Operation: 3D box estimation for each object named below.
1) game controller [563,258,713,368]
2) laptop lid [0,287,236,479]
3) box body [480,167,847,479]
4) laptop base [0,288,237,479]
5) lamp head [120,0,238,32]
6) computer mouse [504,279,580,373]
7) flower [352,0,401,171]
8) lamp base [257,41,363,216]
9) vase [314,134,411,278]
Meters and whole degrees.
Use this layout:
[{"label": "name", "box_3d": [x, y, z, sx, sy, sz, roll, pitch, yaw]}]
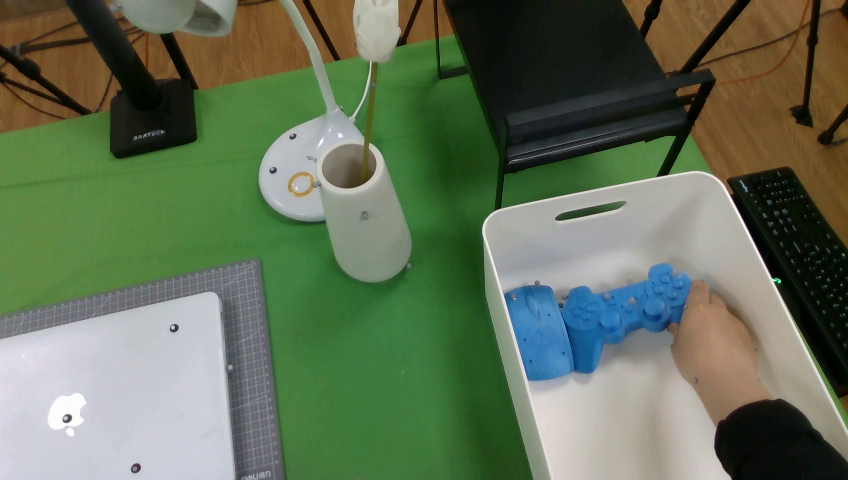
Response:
[{"label": "game controller", "box_3d": [0.231, 0.078, 0.680, 0.155, 0.052, 0.096, -17, 53, 11]}, {"label": "laptop lid", "box_3d": [-0.396, 0.195, 0.679, 0.357, 0.013, 0.239, -12, 65, -3]}, {"label": "box body", "box_3d": [0.216, 0.133, 0.612, 0.254, 0.162, 0.360, -12, 62, -3]}, {"label": "laptop base", "box_3d": [-0.396, 0.199, 0.690, 0.354, 0.023, 0.233, -13, 66, -4]}, {"label": "lamp head", "box_3d": [-0.191, -0.242, 0.480, 0.112, 0.113, 0.122, 14, 82, 10]}, {"label": "computer mouse", "box_3d": [0.134, 0.094, 0.698, 0.063, 0.041, 0.116, -13, 55, -3]}, {"label": "flower", "box_3d": [-0.062, -0.084, 0.626, 0.038, 0.364, 0.043, -18, 52, -25]}, {"label": "lamp base", "box_3d": [-0.148, -0.149, 0.768, 0.160, 0.182, 0.178, 17, 62, 12]}, {"label": "vase", "box_3d": [-0.071, -0.035, 0.694, 0.098, 0.202, 0.097, -2, 61, 4]}]
